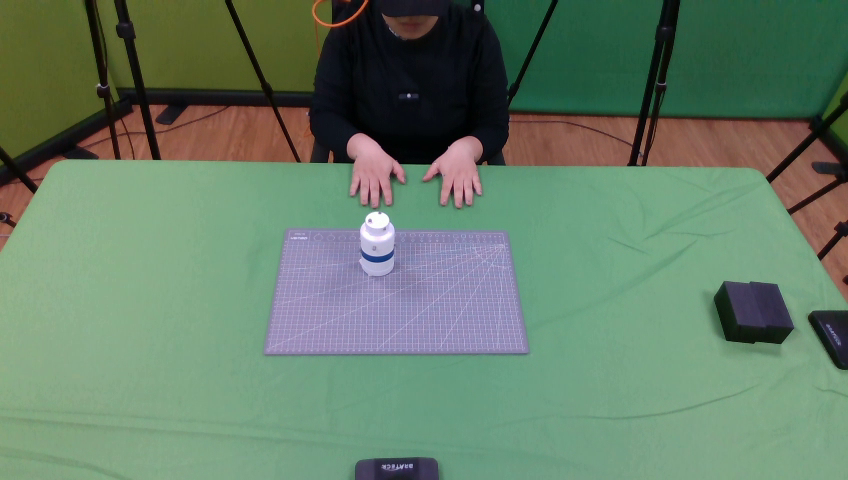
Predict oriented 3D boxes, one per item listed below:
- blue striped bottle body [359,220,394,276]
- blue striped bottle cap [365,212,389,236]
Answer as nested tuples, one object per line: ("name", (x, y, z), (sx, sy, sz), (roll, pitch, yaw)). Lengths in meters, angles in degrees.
("blue striped bottle body", (-0.087, 0.006, 1.114), (0.063, 0.121, 0.062), (2, 46, -2))
("blue striped bottle cap", (-0.084, -0.029, 1.077), (0.044, 0.021, 0.044), (1, 46, -1))
